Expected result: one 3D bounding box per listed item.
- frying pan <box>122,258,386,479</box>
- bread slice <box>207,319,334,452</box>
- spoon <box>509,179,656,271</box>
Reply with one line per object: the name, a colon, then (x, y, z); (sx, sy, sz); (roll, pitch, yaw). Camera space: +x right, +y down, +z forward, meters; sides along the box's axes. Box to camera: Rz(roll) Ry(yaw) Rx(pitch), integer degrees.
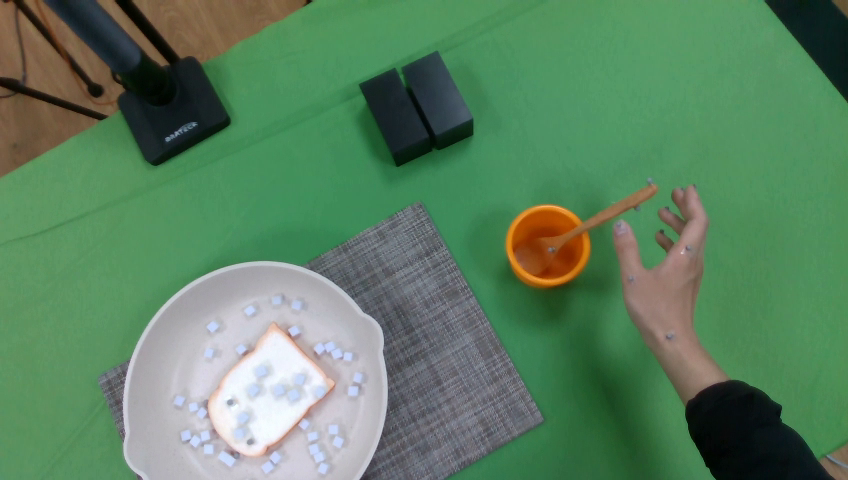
frying pan: (-0.140, 0.255, 0.648); (0.307, 0.103, 0.484); (-26, 69, -1)
bread slice: (-0.184, 0.177, 0.708); (0.106, 0.018, 0.134); (39, 81, 11)
spoon: (0.169, -0.014, 0.665); (0.194, 0.022, 0.041); (-34, 75, 43)
